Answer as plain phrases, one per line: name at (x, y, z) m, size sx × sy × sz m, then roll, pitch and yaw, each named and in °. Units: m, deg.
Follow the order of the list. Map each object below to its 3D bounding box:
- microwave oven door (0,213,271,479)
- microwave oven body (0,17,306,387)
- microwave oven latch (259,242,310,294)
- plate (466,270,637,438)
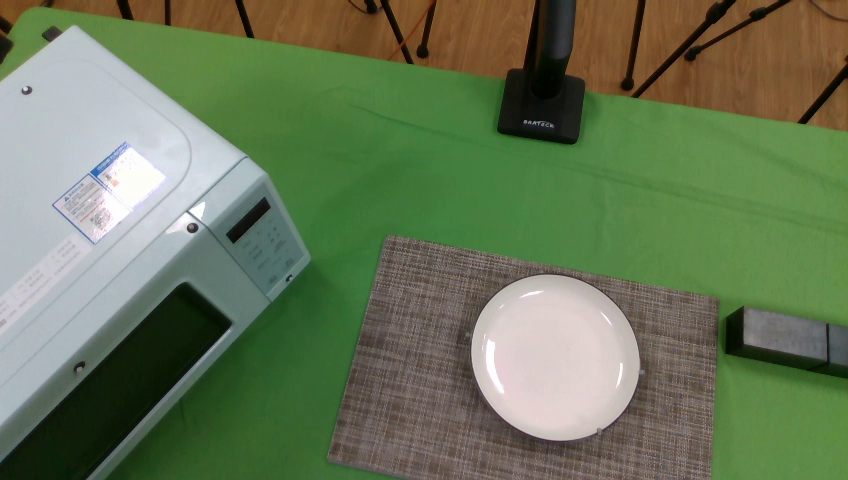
microwave oven door at (-0.325, 0.149, 0.630) m, size 0.039 × 0.245 × 0.355 m, roll 36°, pitch 73°, yaw 15°
microwave oven body at (-0.412, 0.036, 0.682) m, size 0.324 × 0.262 × 0.441 m, roll 37°, pitch 73°, yaw 14°
microwave oven latch at (-0.183, 0.031, 0.787) m, size 0.030 × 0.030 × 0.079 m, roll 39°, pitch 74°, yaw 14°
plate at (0.155, 0.140, 0.754) m, size 0.208 × 0.039 × 0.206 m, roll 0°, pitch 68°, yaw 0°
